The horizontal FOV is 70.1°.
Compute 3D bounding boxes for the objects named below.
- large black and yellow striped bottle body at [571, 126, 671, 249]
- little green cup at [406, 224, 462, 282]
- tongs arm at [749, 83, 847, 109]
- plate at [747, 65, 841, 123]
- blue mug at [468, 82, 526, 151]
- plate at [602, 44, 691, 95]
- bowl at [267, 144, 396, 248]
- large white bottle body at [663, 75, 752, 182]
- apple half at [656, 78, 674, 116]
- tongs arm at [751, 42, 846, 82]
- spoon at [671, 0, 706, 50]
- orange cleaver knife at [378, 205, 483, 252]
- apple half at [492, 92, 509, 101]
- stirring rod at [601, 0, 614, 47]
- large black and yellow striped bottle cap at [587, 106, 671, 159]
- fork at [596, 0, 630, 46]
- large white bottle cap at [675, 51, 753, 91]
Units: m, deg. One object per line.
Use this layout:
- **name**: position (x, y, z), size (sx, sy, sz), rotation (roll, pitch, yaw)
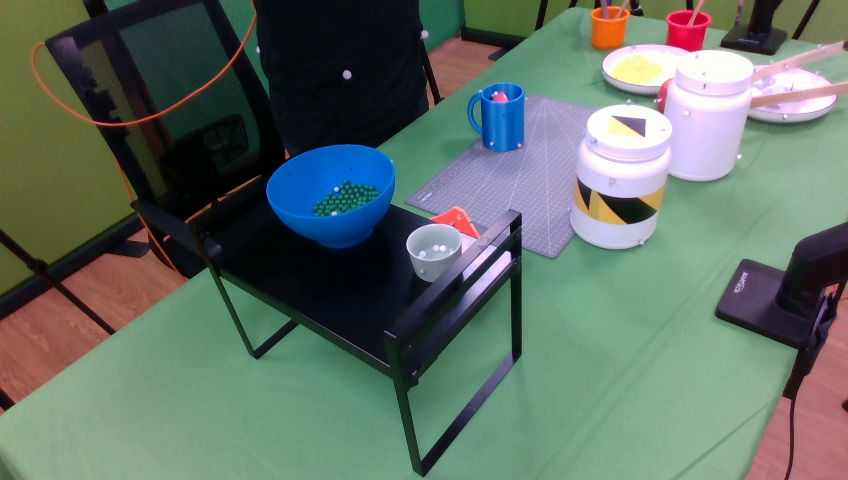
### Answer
- **large black and yellow striped bottle body**: position (0.296, -0.093, 0.915), size (0.131, 0.185, 0.130), rotation (-3, 42, 3)
- **little green cup**: position (0.012, 0.015, 0.668), size (0.061, 0.039, 0.061), rotation (-4, 40, 4)
- **tongs arm**: position (0.734, -0.280, 1.133), size (0.388, 0.028, 0.028), rotation (-9, 47, -5)
- **plate**: position (0.694, -0.282, 1.189), size (0.207, 0.039, 0.206), rotation (-4, 40, 4)
- **blue mug**: position (0.139, -0.242, 1.170), size (0.116, 0.106, 0.082), rotation (14, 45, 24)
- **plate**: position (0.495, -0.367, 1.317), size (0.209, 0.038, 0.208), rotation (-4, 40, 4)
- **bowl**: position (-0.104, -0.043, 0.726), size (0.151, 0.077, 0.150), rotation (-4, 40, 4)
- **large white bottle body**: position (0.472, -0.207, 1.022), size (0.130, 0.185, 0.130), rotation (-4, 41, 4)
- **apple half**: position (0.488, -0.281, 1.192), size (0.053, 0.075, 0.081), rotation (24, 54, 37)
- **tongs arm**: position (0.708, -0.331, 1.193), size (0.386, 0.026, 0.050), rotation (-18, 45, -16)
- **spoon**: position (0.629, -0.520, 1.394), size (0.041, 0.022, 0.193), rotation (30, 96, 34)
- **orange cleaver knife**: position (0.005, -0.010, 0.944), size (0.210, 0.077, 0.012), rotation (-5, 23, 47)
- **apple half**: position (0.143, -0.240, 1.159), size (0.033, 0.081, 0.080), rotation (-11, 40, -13)
- **stirring rod**: position (0.440, -0.552, 1.464), size (0.014, 0.006, 0.175), rotation (-7, 83, 4)
- **large black and yellow striped bottle cap**: position (0.290, -0.154, 0.858), size (0.115, 0.019, 0.114), rotation (-4, 42, 4)
- **fork**: position (0.481, -0.556, 1.453), size (0.028, 0.019, 0.207), rotation (41, 103, 38)
- **large white bottle cap**: position (0.463, -0.271, 0.967), size (0.115, 0.018, 0.114), rotation (-4, 40, 3)
